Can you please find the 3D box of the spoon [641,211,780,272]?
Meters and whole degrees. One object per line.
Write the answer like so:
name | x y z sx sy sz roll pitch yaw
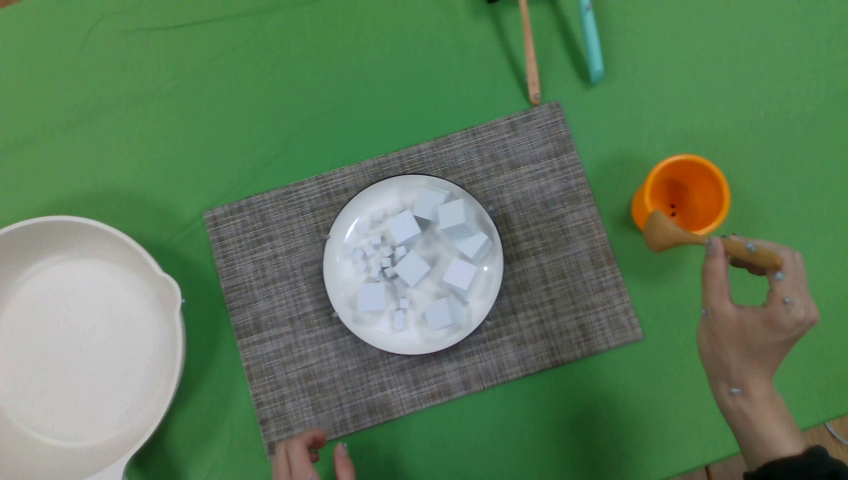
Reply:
spoon | 0.231 0.002 0.508 0.022 0.193 0.042 -1 98 -11

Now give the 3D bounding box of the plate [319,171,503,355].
plate | -0.015 0.026 0.695 0.208 0.039 0.207 0 83 1

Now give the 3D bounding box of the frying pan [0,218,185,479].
frying pan | -0.359 0.213 0.646 0.307 0.103 0.484 -25 74 -2

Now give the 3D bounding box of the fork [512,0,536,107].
fork | 0.111 -0.262 0.714 0.028 0.018 0.208 -13 101 -6

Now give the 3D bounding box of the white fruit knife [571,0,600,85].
white fruit knife | 0.178 -0.288 0.715 0.016 0.027 0.208 -15 97 -2
